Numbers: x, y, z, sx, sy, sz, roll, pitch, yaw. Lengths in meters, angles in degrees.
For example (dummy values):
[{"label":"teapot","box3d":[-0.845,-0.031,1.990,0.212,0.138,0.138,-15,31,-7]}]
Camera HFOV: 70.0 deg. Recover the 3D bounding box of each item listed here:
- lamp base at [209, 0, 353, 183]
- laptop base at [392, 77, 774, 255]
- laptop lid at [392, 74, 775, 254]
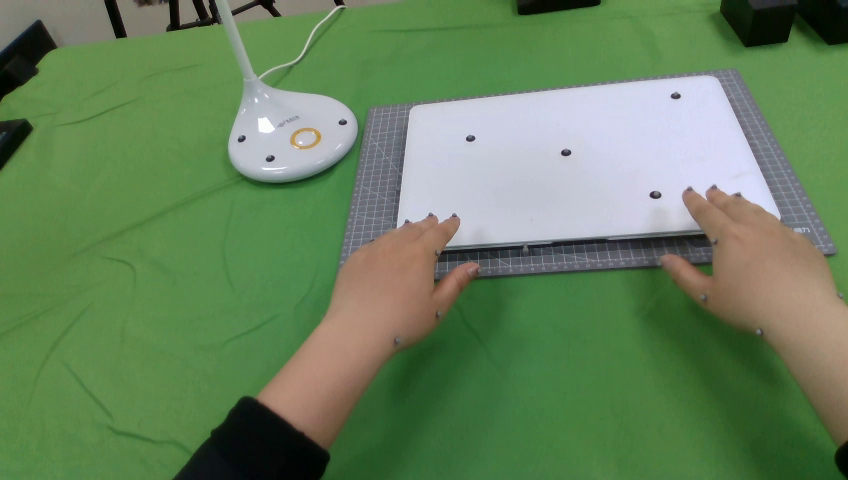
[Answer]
[{"label":"lamp base","box3d":[-0.187,-0.183,0.697,0.177,0.182,0.160,27,57,35]},{"label":"laptop base","box3d":[0.147,-0.081,0.642,0.354,0.023,0.233,-4,50,8]},{"label":"laptop lid","box3d":[0.145,-0.088,0.632,0.356,0.013,0.239,-3,49,9]}]
